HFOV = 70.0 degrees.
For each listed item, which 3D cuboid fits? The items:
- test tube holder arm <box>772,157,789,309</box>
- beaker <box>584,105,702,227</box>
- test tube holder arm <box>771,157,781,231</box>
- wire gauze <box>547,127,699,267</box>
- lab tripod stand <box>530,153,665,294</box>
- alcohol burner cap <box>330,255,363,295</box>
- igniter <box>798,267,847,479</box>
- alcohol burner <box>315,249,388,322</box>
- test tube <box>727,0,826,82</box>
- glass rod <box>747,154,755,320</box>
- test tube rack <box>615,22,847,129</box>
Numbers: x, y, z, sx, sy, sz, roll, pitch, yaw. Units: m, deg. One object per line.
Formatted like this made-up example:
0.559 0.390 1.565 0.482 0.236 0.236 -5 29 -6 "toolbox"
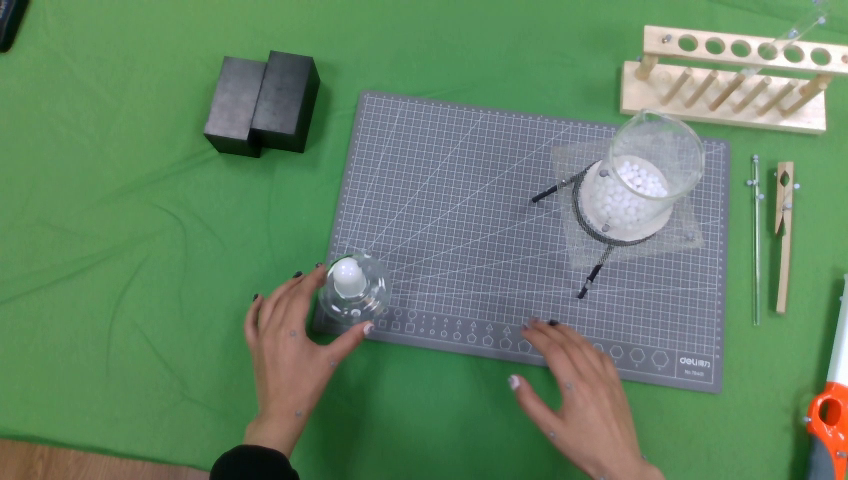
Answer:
0.407 -0.010 0.691 0.013 0.015 0.177 0 74 34 "test tube holder arm"
0.182 -0.059 0.525 0.074 0.101 0.083 -7 75 1 "beaker"
0.410 -0.053 0.705 0.010 0.015 0.087 0 74 34 "test tube holder arm"
0.184 -0.044 0.571 0.121 0.011 0.124 -8 77 1 "wire gauze"
0.180 -0.026 0.634 0.148 0.132 0.147 0 76 2 "lab tripod stand"
-0.078 0.031 0.593 0.034 0.048 0.033 1 66 -2 "alcohol burner cap"
0.437 0.160 0.645 0.057 0.025 0.275 22 76 -4 "igniter"
-0.077 0.043 0.627 0.078 0.120 0.077 0 73 0 "alcohol burner"
0.377 -0.214 0.659 0.017 0.150 0.017 1 75 -5 "test tube"
0.376 -0.007 0.696 0.008 0.008 0.198 7 75 2 "glass rod"
0.357 -0.188 0.704 0.242 0.085 0.066 6 75 2 "test tube rack"
